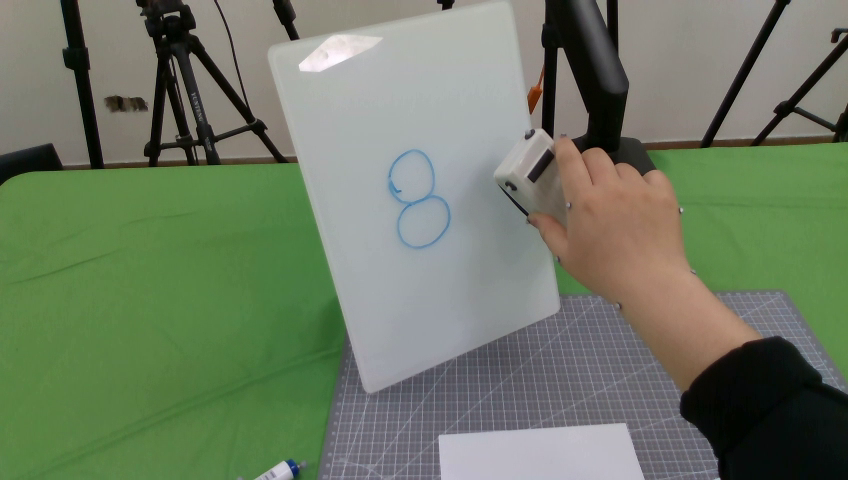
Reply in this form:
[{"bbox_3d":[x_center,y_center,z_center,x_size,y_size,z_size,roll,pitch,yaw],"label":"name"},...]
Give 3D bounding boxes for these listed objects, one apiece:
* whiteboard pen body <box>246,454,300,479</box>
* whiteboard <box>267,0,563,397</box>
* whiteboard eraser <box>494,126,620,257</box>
[{"bbox_3d":[-0.156,0.201,0.445,0.141,0.017,0.017,-26,42,-30],"label":"whiteboard pen body"},{"bbox_3d":[-0.014,-0.049,0.587,0.217,0.307,0.142,-19,19,-19],"label":"whiteboard"},{"bbox_3d":[0.111,-0.039,0.511,0.055,0.113,0.041,-52,21,-9],"label":"whiteboard eraser"}]
